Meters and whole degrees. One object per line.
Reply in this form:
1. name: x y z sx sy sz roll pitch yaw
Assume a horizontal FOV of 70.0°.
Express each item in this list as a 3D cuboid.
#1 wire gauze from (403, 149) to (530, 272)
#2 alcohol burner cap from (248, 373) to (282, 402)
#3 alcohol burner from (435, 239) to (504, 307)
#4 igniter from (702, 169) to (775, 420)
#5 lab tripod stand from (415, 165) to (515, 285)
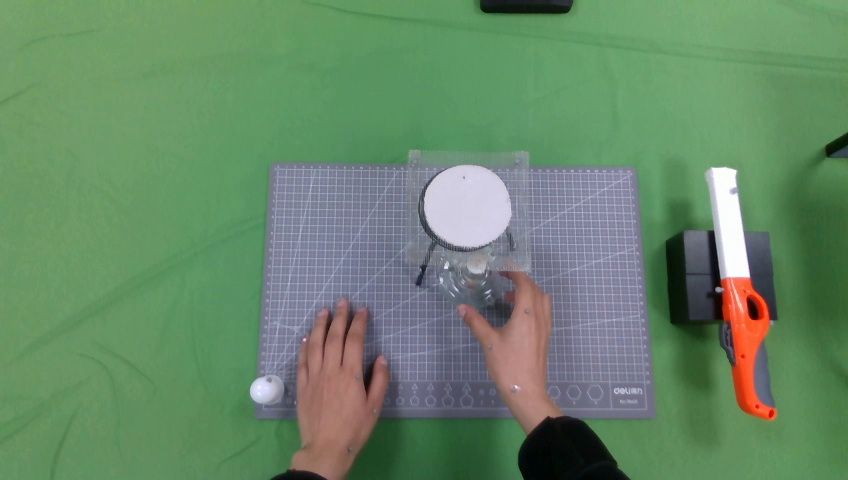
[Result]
1. wire gauze: 0.043 -0.031 0.593 0.125 0.011 0.121 3 77 -1
2. alcohol burner cap: -0.175 0.160 0.658 0.034 0.048 0.033 1 76 -4
3. alcohol burner: 0.051 0.033 0.659 0.078 0.119 0.077 0 78 0
4. igniter: 0.342 0.054 0.663 0.057 0.025 0.275 0 75 -6
5. lab tripod stand: 0.034 -0.020 0.659 0.148 0.132 0.147 0 77 0
